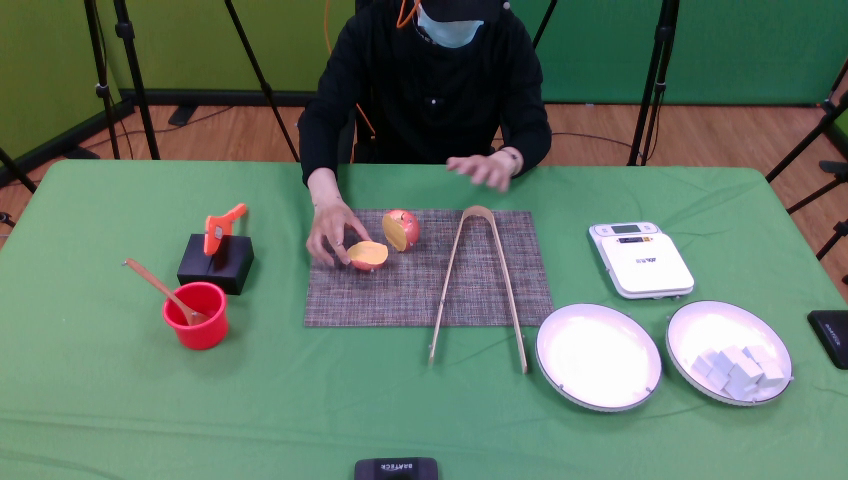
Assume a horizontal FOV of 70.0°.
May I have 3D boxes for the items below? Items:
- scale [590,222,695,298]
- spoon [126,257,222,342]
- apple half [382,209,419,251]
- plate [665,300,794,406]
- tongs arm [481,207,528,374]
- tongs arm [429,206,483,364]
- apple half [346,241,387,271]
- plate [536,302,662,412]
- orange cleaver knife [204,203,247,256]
[{"bbox_3d":[0.424,0.031,1.189,0.149,0.032,0.199,-3,46,-7],"label":"scale"},{"bbox_3d":[-0.408,0.096,0.990,0.194,0.021,0.041,50,53,-18],"label":"spoon"},{"bbox_3d":[-0.039,-0.022,1.175,0.053,0.075,0.080,-27,50,-31],"label":"apple half"},{"bbox_3d":[0.513,0.194,1.034,0.208,0.039,0.206,2,46,-2],"label":"plate"},{"bbox_3d":[0.149,0.077,1.124,0.028,0.028,0.385,-4,46,-2],"label":"tongs arm"},{"bbox_3d":[0.064,0.069,1.124,0.051,0.026,0.382,8,45,5],"label":"tongs arm"},{"bbox_3d":[-0.104,0.035,1.127,0.081,0.033,0.081,2,31,-1],"label":"apple half"},{"bbox_3d":[0.288,0.197,1.016,0.209,0.038,0.208,2,46,-2],"label":"plate"},{"bbox_3d":[-0.374,-0.024,1.146,0.012,0.077,0.211,4,14,1],"label":"orange cleaver knife"}]
